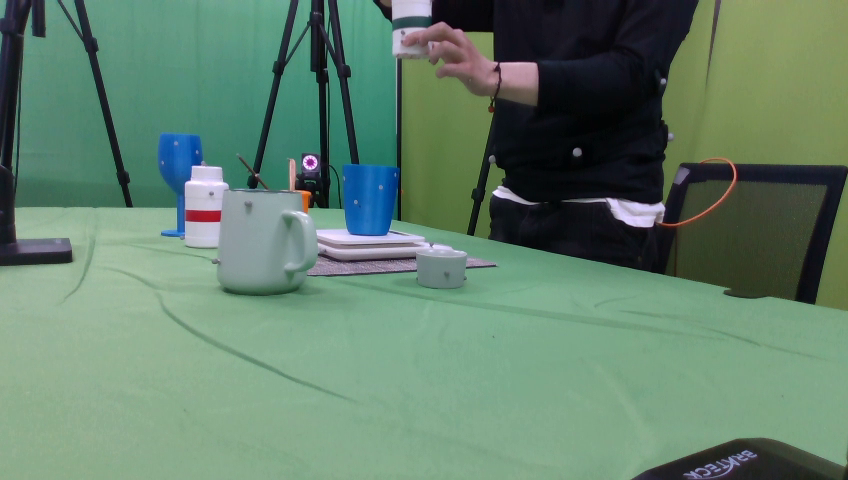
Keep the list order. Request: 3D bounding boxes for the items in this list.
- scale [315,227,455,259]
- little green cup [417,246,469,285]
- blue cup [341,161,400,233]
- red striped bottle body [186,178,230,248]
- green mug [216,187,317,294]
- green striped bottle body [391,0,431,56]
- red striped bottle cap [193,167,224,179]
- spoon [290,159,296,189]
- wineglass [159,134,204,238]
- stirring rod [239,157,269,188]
[{"bbox_3d":[-0.066,0.001,0.906,0.202,0.031,0.148,-2,8,-31],"label":"scale"},{"bbox_3d":[0.021,0.029,0.701,0.061,0.038,0.061,2,6,0],"label":"little green cup"},{"bbox_3d":[-0.080,-0.062,0.883,0.093,0.100,0.092,3,4,0],"label":"blue cup"},{"bbox_3d":[-0.331,-0.050,0.927,0.063,0.119,0.063,2,7,0],"label":"red striped bottle body"},{"bbox_3d":[-0.157,0.000,0.629,0.124,0.105,0.093,8,9,37],"label":"green mug"},{"bbox_3d":[-0.021,-0.352,0.945,0.063,0.119,0.063,0,9,0],"label":"green striped bottle body"},{"bbox_3d":[-0.329,-0.103,0.921,0.044,0.017,0.044,0,9,0],"label":"red striped bottle cap"},{"bbox_3d":[-0.273,-0.102,1.252,0.042,0.193,0.021,7,-39,-17],"label":"spoon"},{"bbox_3d":[-0.415,-0.093,1.040,0.074,0.172,0.073,2,7,0],"label":"wineglass"},{"bbox_3d":[-0.309,-0.098,1.209,0.006,0.177,0.014,-39,29,-4],"label":"stirring rod"}]
